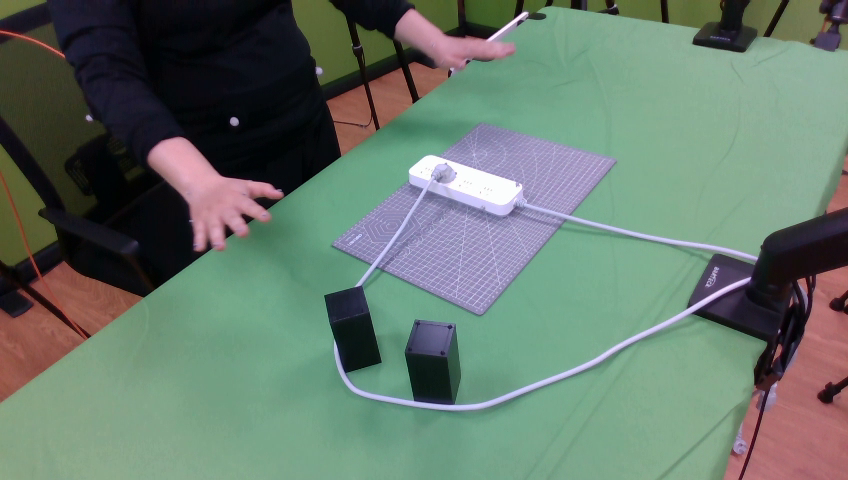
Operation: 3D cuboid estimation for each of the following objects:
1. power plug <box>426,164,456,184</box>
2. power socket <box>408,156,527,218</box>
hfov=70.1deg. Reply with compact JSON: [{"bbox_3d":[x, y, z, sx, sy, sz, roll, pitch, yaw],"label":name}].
[{"bbox_3d":[0.024,-0.103,1.047,0.073,0.053,0.035,-36,47,-26],"label":"power plug"},{"bbox_3d":[0.070,-0.095,1.059,0.225,0.033,0.072,22,49,30],"label":"power socket"}]
